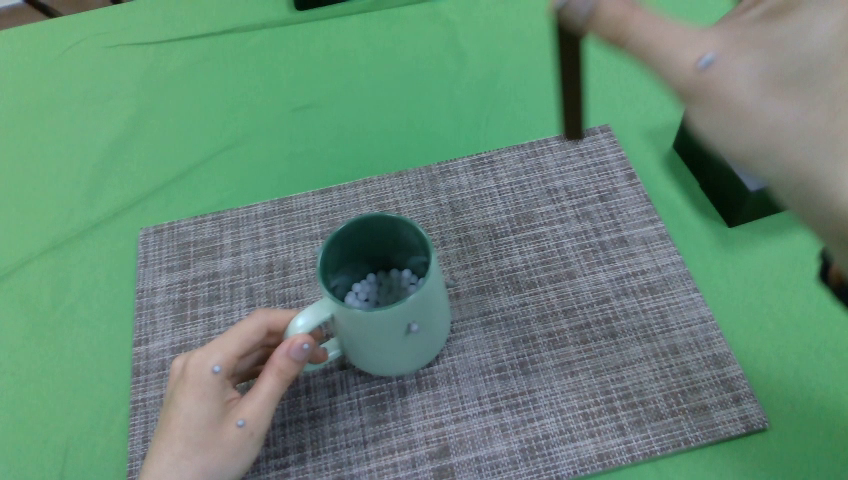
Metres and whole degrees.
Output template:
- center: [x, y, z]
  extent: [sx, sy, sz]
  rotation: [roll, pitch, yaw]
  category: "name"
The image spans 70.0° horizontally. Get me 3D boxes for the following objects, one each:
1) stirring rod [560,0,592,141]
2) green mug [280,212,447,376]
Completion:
- center: [0.066, -0.101, 0.263]
  extent: [0.014, 0.178, 0.005]
  rotation: [-2, 59, 13]
  category: "stirring rod"
- center: [-0.044, 0.050, 0.434]
  extent: [0.125, 0.106, 0.091]
  rotation: [-33, 60, -16]
  category: "green mug"
